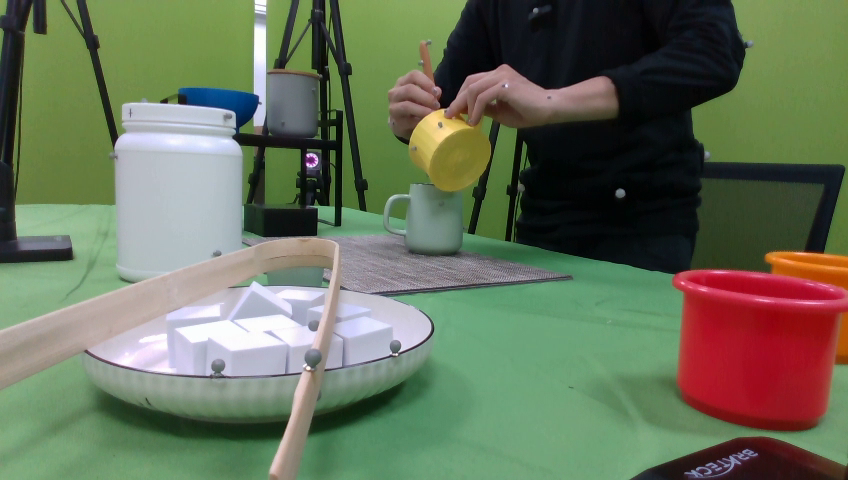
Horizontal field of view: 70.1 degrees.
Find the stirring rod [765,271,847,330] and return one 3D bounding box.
[{"bbox_3d":[0.352,0.020,0.481,0.176,0.006,0.014,-40,-8,17],"label":"stirring rod"}]

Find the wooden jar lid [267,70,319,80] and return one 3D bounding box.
[{"bbox_3d":[-0.275,-0.340,1.271,0.108,0.020,0.108,5,6,0],"label":"wooden jar lid"}]

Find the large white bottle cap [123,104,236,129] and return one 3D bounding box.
[{"bbox_3d":[-0.266,-0.134,0.663,0.115,0.018,0.115,3,7,0],"label":"large white bottle cap"}]

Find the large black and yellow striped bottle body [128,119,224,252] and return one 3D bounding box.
[{"bbox_3d":[-0.361,-0.081,0.887,0.131,0.184,0.130,2,8,0],"label":"large black and yellow striped bottle body"}]

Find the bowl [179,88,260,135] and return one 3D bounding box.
[{"bbox_3d":[-0.400,-0.248,1.188,0.151,0.077,0.151,2,6,0],"label":"bowl"}]

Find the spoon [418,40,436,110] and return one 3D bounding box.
[{"bbox_3d":[0.013,-0.189,0.871,0.041,0.193,0.021,-11,5,6],"label":"spoon"}]

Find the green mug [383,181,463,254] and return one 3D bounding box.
[{"bbox_3d":[-0.001,-0.036,0.921,0.126,0.105,0.092,0,8,-16],"label":"green mug"}]

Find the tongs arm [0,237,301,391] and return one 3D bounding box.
[{"bbox_3d":[-0.158,0.038,0.347,0.028,0.028,0.388,-2,8,11],"label":"tongs arm"}]

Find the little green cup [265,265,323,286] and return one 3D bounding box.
[{"bbox_3d":[-0.134,0.034,0.628,0.061,0.038,0.061,3,7,0],"label":"little green cup"}]

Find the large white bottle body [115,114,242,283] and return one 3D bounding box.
[{"bbox_3d":[-0.270,-0.051,0.673,0.131,0.184,0.130,2,8,0],"label":"large white bottle body"}]

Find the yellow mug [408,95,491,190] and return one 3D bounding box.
[{"bbox_3d":[0.042,-0.143,0.852,0.100,0.130,0.063,12,28,-39],"label":"yellow mug"}]

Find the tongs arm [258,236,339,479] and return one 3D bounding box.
[{"bbox_3d":[-0.074,0.040,0.345,0.051,0.026,0.384,-1,9,-3],"label":"tongs arm"}]

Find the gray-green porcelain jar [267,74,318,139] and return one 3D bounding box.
[{"bbox_3d":[-0.277,-0.279,1.280,0.106,0.126,0.106,2,7,0],"label":"gray-green porcelain jar"}]

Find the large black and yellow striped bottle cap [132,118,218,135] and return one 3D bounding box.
[{"bbox_3d":[-0.359,-0.164,0.875,0.115,0.019,0.115,2,6,0],"label":"large black and yellow striped bottle cap"}]

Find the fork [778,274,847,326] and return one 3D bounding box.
[{"bbox_3d":[0.332,0.019,0.443,0.028,0.018,0.207,-3,-35,-16],"label":"fork"}]

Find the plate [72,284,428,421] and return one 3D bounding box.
[{"bbox_3d":[-0.102,0.067,0.381,0.208,0.039,0.207,3,7,0],"label":"plate"}]
